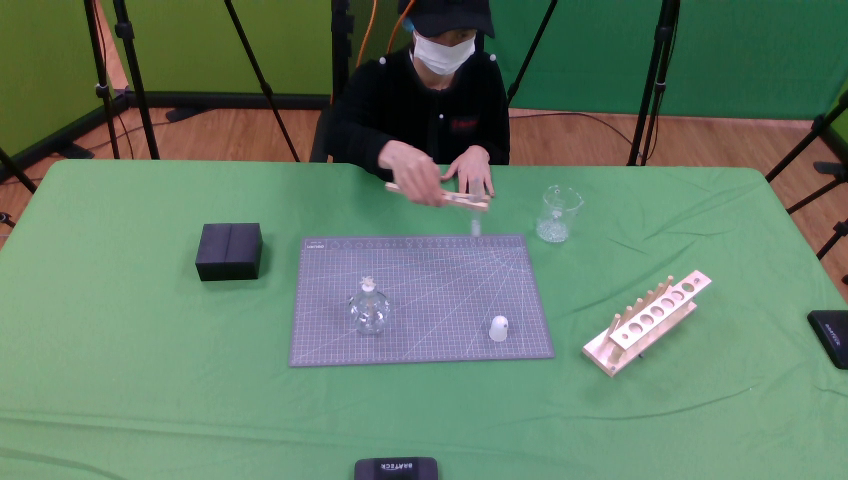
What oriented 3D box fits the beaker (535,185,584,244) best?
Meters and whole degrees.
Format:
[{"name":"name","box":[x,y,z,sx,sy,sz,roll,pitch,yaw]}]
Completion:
[{"name":"beaker","box":[0.268,-0.048,1.213,0.084,0.101,0.073,6,46,0]}]

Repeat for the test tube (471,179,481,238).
[{"name":"test tube","box":[0.084,-0.048,0.986,0.017,0.151,0.017,-2,57,3]}]

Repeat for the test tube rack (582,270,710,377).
[{"name":"test tube rack","box":[0.389,0.132,1.058,0.242,0.085,0.066,-28,53,-28]}]

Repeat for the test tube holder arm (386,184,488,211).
[{"name":"test tube holder arm","box":[0.018,-0.070,0.986,0.178,0.015,0.013,11,55,19]}]

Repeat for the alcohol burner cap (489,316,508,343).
[{"name":"alcohol burner cap","box":[0.130,0.151,1.045,0.034,0.048,0.033,2,46,-2]}]

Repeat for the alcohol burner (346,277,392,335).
[{"name":"alcohol burner","box":[-0.093,0.106,1.021,0.078,0.120,0.077,1,46,-1]}]

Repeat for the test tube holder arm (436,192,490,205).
[{"name":"test tube holder arm","box":[0.062,-0.068,0.976,0.087,0.015,0.010,4,53,15]}]
